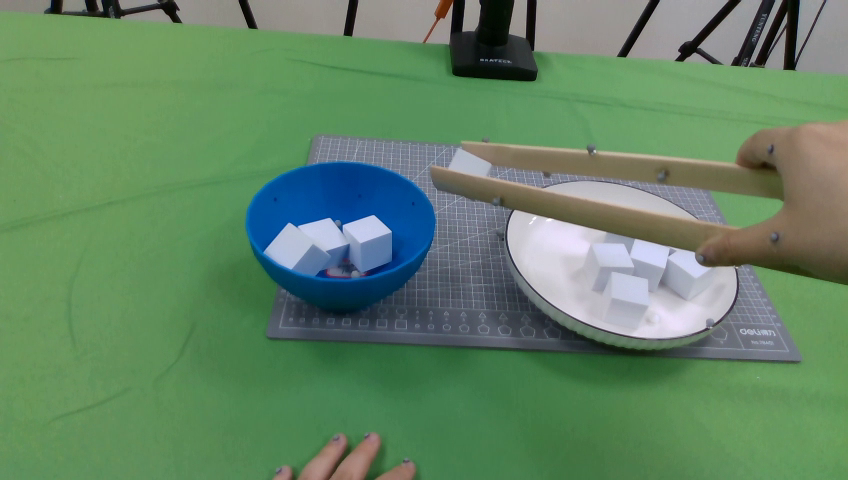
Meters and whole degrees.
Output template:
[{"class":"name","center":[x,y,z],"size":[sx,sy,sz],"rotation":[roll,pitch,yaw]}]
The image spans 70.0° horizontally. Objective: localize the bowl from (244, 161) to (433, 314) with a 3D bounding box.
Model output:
[{"class":"bowl","center":[-0.070,0.008,0.508],"size":[0.151,0.077,0.150],"rotation":[4,42,-3]}]

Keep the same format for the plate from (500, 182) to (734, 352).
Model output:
[{"class":"plate","center":[0.170,0.023,0.555],"size":[0.208,0.039,0.205],"rotation":[4,42,-3]}]

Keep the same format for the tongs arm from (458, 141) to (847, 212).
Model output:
[{"class":"tongs arm","center":[0.172,-0.028,0.387],"size":[0.382,0.027,0.050],"rotation":[11,50,36]}]

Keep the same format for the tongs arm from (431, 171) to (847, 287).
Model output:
[{"class":"tongs arm","center":[0.156,-0.010,0.374],"size":[0.384,0.028,0.028],"rotation":[14,49,38]}]
